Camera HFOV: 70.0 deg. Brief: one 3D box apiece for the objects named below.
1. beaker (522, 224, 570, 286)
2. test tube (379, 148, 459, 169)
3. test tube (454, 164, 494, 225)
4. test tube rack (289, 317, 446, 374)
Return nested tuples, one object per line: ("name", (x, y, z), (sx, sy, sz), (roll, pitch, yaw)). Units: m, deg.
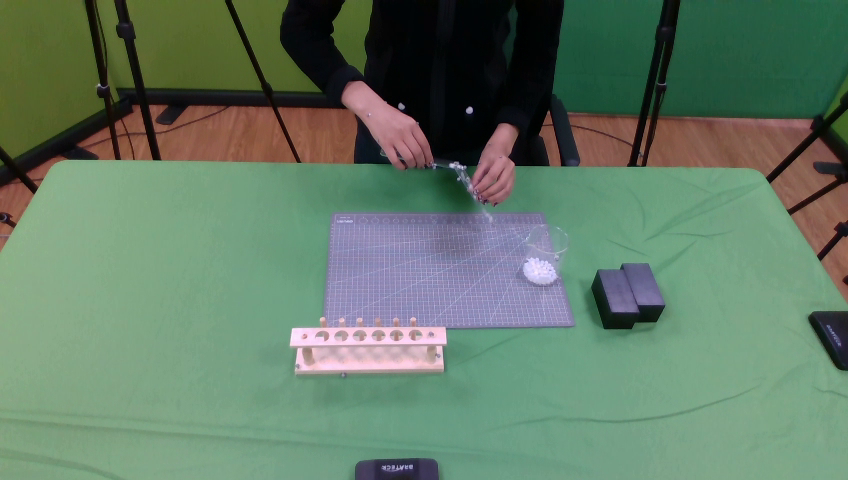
("beaker", (0.221, 0.032, 1.129), (0.084, 0.101, 0.073), (-6, 46, -9))
("test tube", (-0.009, -0.150, 1.113), (0.150, 0.017, 0.017), (9, 46, -3))
("test tube", (0.098, -0.084, 1.159), (0.017, 0.151, 0.017), (-24, 35, 18))
("test tube rack", (-0.089, 0.167, 0.987), (0.242, 0.085, 0.066), (0, 46, -4))
